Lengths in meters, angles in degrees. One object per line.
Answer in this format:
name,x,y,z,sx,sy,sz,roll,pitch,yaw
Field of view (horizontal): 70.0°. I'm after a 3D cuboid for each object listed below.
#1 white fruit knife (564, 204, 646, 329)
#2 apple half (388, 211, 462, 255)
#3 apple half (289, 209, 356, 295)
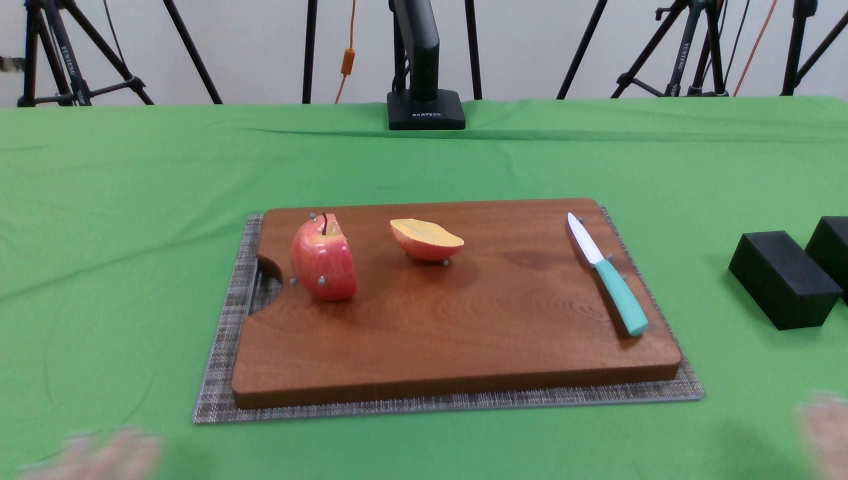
white fruit knife,0.184,0.018,0.636,0.027,0.016,0.205,8,35,-16
apple half,-0.005,-0.003,0.635,0.081,0.033,0.081,17,18,-5
apple half,-0.101,0.015,0.584,0.053,0.075,0.080,-17,46,-15
